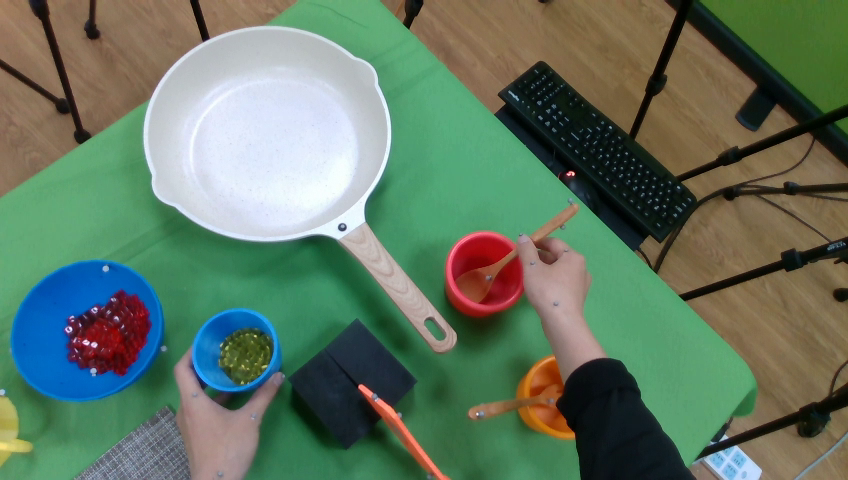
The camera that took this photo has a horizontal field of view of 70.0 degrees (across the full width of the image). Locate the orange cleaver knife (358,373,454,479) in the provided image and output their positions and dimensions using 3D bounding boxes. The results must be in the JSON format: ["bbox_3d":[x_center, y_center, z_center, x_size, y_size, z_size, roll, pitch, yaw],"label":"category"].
[{"bbox_3d":[-0.005,0.227,0.666,0.012,0.076,0.213,-40,110,-16],"label":"orange cleaver knife"}]

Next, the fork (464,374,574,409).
[{"bbox_3d":[0.110,0.166,0.663,0.209,0.018,0.028,8,65,-51],"label":"fork"}]

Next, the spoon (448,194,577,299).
[{"bbox_3d":[0.102,0.009,0.714,0.194,0.022,0.041,-41,70,27],"label":"spoon"}]

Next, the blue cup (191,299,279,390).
[{"bbox_3d":[-0.199,0.117,0.667,0.093,0.100,0.092,2,73,-5],"label":"blue cup"}]

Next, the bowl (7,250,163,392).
[{"bbox_3d":[-0.356,0.094,0.667,0.151,0.077,0.150,2,73,-6],"label":"bowl"}]

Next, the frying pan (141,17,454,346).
[{"bbox_3d":[-0.128,-0.063,0.730,0.307,0.103,0.484,-35,72,-15],"label":"frying pan"}]

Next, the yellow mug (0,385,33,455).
[{"bbox_3d":[-0.475,0.194,0.627,0.131,0.064,0.099,12,71,-4],"label":"yellow mug"}]
